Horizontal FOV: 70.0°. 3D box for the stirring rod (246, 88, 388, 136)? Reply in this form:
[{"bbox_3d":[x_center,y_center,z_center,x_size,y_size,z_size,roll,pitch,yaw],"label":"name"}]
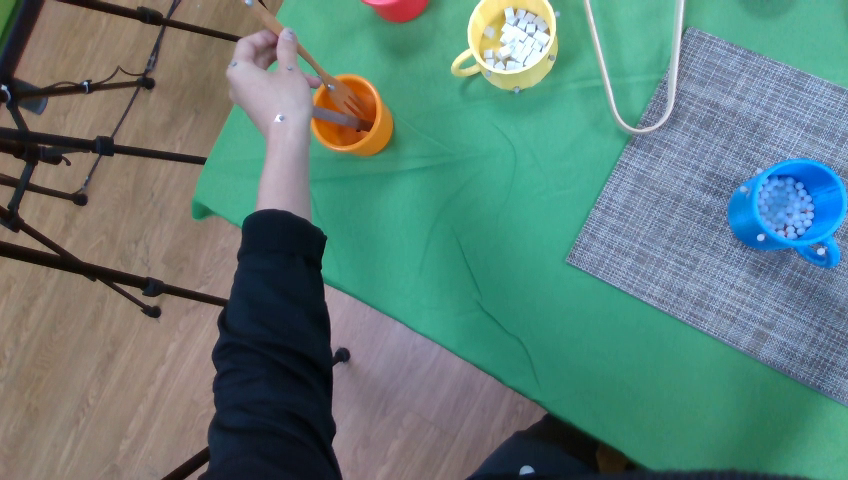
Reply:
[{"bbox_3d":[-0.123,-0.151,0.721,0.177,0.005,0.014,10,98,-29],"label":"stirring rod"}]

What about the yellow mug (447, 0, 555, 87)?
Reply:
[{"bbox_3d":[0.087,-0.231,0.712,0.131,0.064,0.099,-25,83,13],"label":"yellow mug"}]

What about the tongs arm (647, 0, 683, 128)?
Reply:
[{"bbox_3d":[0.273,-0.320,0.667,0.028,0.028,0.388,3,96,6],"label":"tongs arm"}]

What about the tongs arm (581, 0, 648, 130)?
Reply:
[{"bbox_3d":[0.191,-0.311,0.683,0.050,0.026,0.385,-11,93,10],"label":"tongs arm"}]

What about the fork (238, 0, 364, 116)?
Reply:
[{"bbox_3d":[-0.131,-0.199,0.668,0.018,0.209,0.028,34,86,37],"label":"fork"}]

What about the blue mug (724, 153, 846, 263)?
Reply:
[{"bbox_3d":[0.370,-0.025,0.613,0.082,0.106,0.116,-37,80,10],"label":"blue mug"}]
